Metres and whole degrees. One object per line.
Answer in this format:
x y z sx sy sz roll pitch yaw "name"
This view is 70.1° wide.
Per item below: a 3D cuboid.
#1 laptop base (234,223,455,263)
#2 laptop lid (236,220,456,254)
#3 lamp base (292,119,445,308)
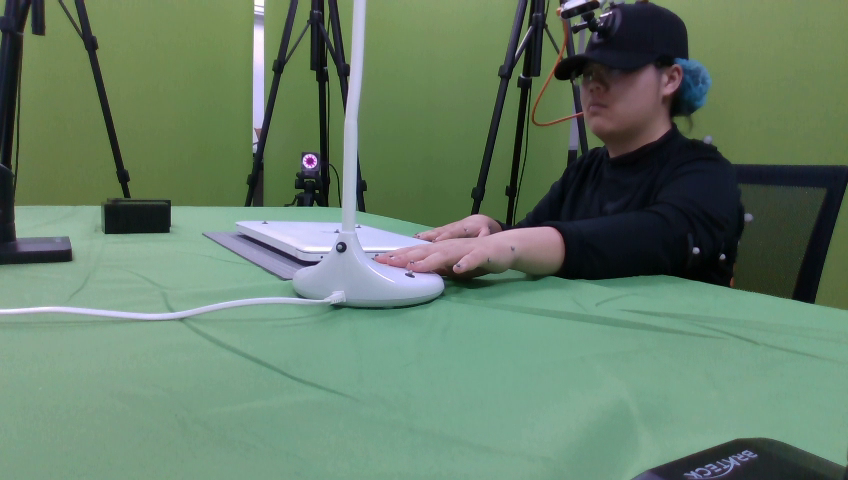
-0.141 0.003 0.959 0.237 0.023 0.352 2 6 -32 "laptop base"
-0.139 -0.008 0.958 0.243 0.013 0.355 1 7 -31 "laptop lid"
-0.056 -0.030 0.616 0.160 0.180 0.179 3 10 8 "lamp base"
